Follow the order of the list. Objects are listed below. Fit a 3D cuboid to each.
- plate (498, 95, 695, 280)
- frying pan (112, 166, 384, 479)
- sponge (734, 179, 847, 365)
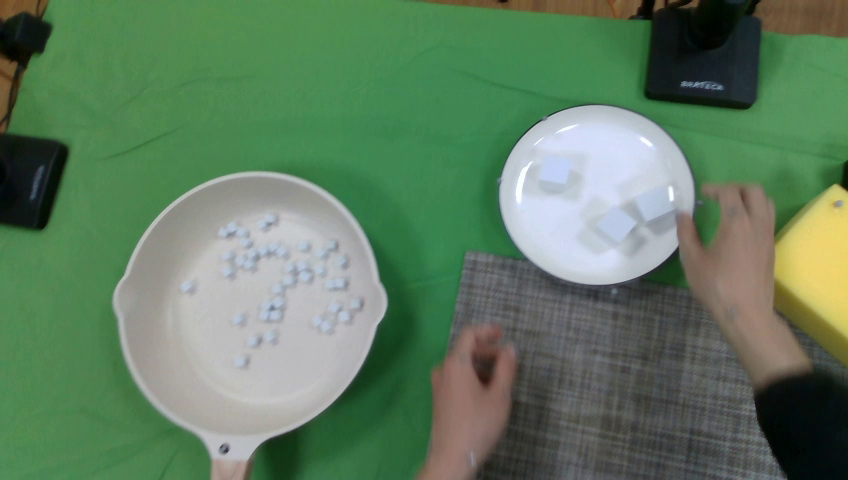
[{"bbox_3d":[0.186,-0.057,0.672,0.207,0.039,0.206,-2,78,8],"label":"plate"},{"bbox_3d":[-0.198,0.162,0.644,0.306,0.103,0.484,2,70,9],"label":"frying pan"},{"bbox_3d":[0.440,0.053,0.601,0.118,0.061,0.205,-45,75,-5],"label":"sponge"}]
